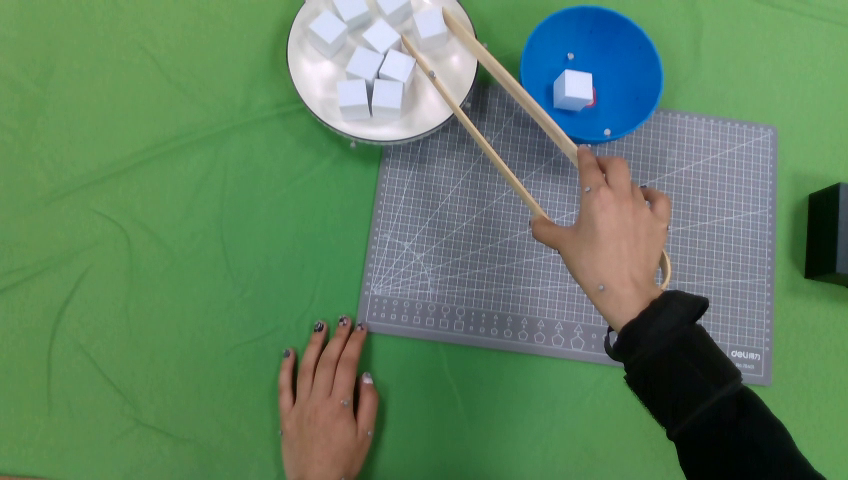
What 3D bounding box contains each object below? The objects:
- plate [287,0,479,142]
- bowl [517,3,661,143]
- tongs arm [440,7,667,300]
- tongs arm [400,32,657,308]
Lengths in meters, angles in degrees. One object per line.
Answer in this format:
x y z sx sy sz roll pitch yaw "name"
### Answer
-0.044 -0.203 0.671 0.208 0.039 0.206 1 79 -3 "plate"
0.168 -0.167 0.658 0.151 0.077 0.150 1 79 -4 "bowl"
0.113 -0.105 0.591 0.028 0.028 0.384 -30 65 -7 "tongs arm"
0.085 -0.087 0.589 0.051 0.027 0.381 -30 65 -3 "tongs arm"
